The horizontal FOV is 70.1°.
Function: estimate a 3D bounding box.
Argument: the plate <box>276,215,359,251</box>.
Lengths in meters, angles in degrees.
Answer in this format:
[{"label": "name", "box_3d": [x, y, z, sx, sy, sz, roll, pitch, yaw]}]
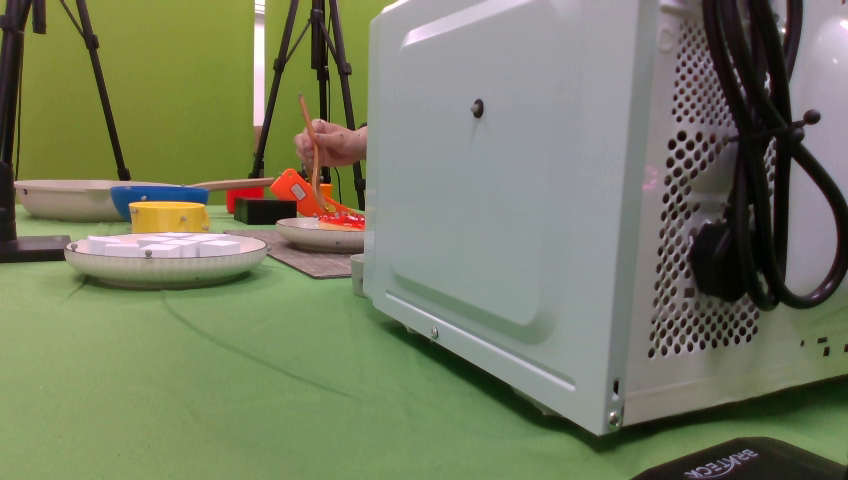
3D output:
[{"label": "plate", "box_3d": [-0.126, -0.012, 0.950, 0.209, 0.038, 0.209, 2, 7, 0]}]

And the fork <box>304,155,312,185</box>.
[{"label": "fork", "box_3d": [-0.268, -0.134, 1.446, 0.028, 0.018, 0.207, 1, -36, -1]}]

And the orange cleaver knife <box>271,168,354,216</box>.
[{"label": "orange cleaver knife", "box_3d": [-0.237, -0.084, 1.332, 0.212, 0.077, 0.012, 31, -9, -31]}]

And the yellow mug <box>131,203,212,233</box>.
[{"label": "yellow mug", "box_3d": [-0.356, -0.020, 0.878, 0.099, 0.064, 0.131, 4, 7, 22]}]

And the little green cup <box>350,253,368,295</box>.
[{"label": "little green cup", "box_3d": [-0.048, 0.035, 0.632, 0.061, 0.038, 0.061, 3, 6, 0]}]

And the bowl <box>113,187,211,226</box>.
[{"label": "bowl", "box_3d": [-0.436, -0.046, 1.013, 0.151, 0.077, 0.151, 2, 7, 0]}]

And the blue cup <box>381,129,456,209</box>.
[{"label": "blue cup", "box_3d": [-0.003, -0.105, 0.963, 0.092, 0.100, 0.092, -42, -3, -2]}]

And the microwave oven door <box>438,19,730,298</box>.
[{"label": "microwave oven door", "box_3d": [0.181, -0.076, 0.618, 0.358, 0.243, 0.039, -2, 8, -28]}]

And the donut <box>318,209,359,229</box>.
[{"label": "donut", "box_3d": [-0.118, -0.023, 0.953, 0.099, 0.048, 0.099, 5, 6, 0]}]

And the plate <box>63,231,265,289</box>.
[{"label": "plate", "box_3d": [-0.288, 0.021, 0.687, 0.208, 0.039, 0.207, 2, 8, 0]}]

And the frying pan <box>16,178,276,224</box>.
[{"label": "frying pan", "box_3d": [-0.554, -0.097, 1.266, 0.490, 0.102, 0.305, -10, 13, -24]}]

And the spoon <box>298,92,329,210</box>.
[{"label": "spoon", "box_3d": [-0.176, -0.142, 0.965, 0.021, 0.193, 0.041, -9, -2, 7]}]

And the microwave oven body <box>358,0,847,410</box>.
[{"label": "microwave oven body", "box_3d": [0.210, -0.051, 0.471, 0.444, 0.260, 0.324, -1, 7, -28]}]

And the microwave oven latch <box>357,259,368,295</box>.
[{"label": "microwave oven latch", "box_3d": [-0.019, 0.031, 0.529, 0.079, 0.029, 0.030, -1, 7, -26]}]
